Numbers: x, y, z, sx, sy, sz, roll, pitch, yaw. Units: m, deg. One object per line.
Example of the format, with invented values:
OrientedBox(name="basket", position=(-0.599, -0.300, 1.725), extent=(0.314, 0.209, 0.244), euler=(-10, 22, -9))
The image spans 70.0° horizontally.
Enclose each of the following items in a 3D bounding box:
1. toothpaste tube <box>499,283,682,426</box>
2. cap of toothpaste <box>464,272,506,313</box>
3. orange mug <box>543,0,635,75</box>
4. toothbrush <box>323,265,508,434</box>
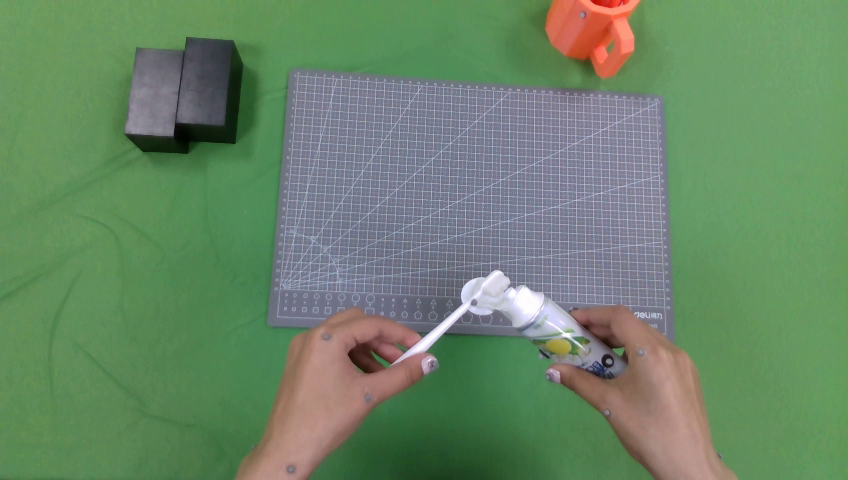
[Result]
OrientedBox(name="toothpaste tube", position=(0.124, 0.090, 0.479), extent=(0.165, 0.055, 0.034), euler=(39, 44, -8))
OrientedBox(name="cap of toothpaste", position=(0.050, 0.041, 0.487), extent=(0.037, 0.011, 0.037), euler=(-1, 61, 2))
OrientedBox(name="orange mug", position=(0.200, -0.262, 0.704), extent=(0.083, 0.101, 0.125), euler=(-18, 76, -8))
OrientedBox(name="toothbrush", position=(-0.004, 0.082, 0.457), extent=(0.182, 0.016, 0.015), euler=(-41, 129, -13))
